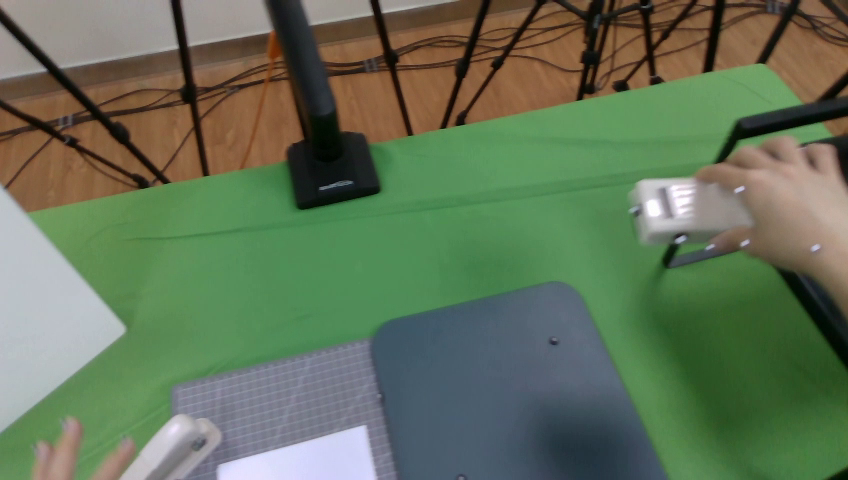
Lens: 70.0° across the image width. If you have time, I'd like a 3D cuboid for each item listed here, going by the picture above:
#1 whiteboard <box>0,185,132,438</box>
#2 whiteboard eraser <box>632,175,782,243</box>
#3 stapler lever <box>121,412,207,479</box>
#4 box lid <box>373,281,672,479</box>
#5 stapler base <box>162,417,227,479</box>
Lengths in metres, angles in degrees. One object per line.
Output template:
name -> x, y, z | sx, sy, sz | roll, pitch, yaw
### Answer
whiteboard -> -0.507, 0.045, 0.625 | 0.142, 0.309, 0.217 | 24, 56, 40
whiteboard eraser -> 0.239, -0.025, 0.518 | 0.113, 0.042, 0.055 | -2, 59, 1
stapler lever -> -0.267, 0.222, 0.599 | 0.026, 0.040, 0.118 | 33, 64, 27
box lid -> 0.107, 0.215, 0.640 | 0.264, 0.015, 0.367 | -12, 55, -9
stapler base -> -0.264, 0.235, 0.620 | 0.041, 0.024, 0.130 | 33, 64, 26
